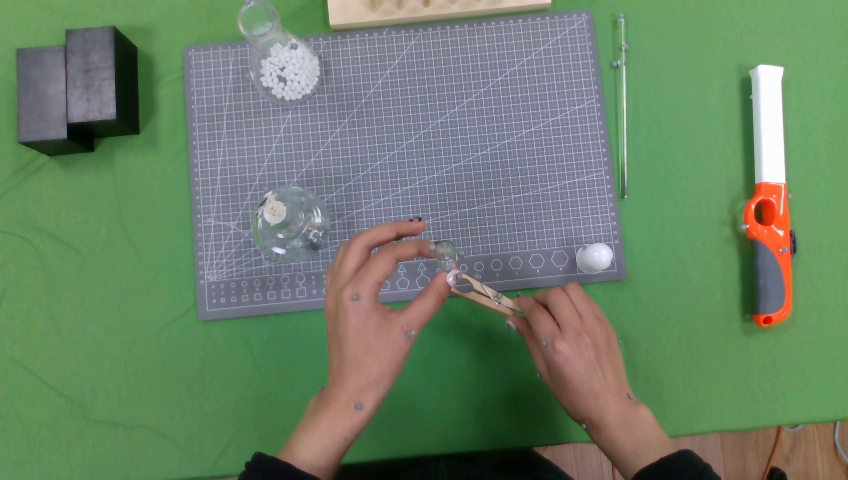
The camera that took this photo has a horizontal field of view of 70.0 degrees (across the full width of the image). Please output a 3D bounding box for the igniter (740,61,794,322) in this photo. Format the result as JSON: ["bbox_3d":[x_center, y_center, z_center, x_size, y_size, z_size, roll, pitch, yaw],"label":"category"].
[{"bbox_3d":[0.360,-0.052,0.638,0.057,0.025,0.275,3,84,-10],"label":"igniter"}]

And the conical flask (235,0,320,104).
[{"bbox_3d":[-0.150,-0.190,0.602,0.075,0.122,0.075,0,83,0],"label":"conical flask"}]

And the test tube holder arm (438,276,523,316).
[{"bbox_3d":[0.055,0.055,0.588,0.087,0.015,0.010,20,86,6],"label":"test tube holder arm"}]

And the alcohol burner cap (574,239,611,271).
[{"bbox_3d":[0.175,0.014,0.620,0.034,0.048,0.034,0,82,0],"label":"alcohol burner cap"}]

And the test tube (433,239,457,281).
[{"bbox_3d":[0.019,0.019,0.499,0.017,0.151,0.017,-1,80,4],"label":"test tube"}]

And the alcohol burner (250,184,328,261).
[{"bbox_3d":[-0.135,-0.020,0.588,0.078,0.119,0.077,0,82,2],"label":"alcohol burner"}]

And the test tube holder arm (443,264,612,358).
[{"bbox_3d":[0.098,0.068,0.584,0.178,0.015,0.013,26,87,6],"label":"test tube holder arm"}]

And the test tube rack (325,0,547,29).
[{"bbox_3d":[0.011,-0.284,0.634,0.242,0.085,0.066,-6,83,-1],"label":"test tube rack"}]

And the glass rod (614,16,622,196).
[{"bbox_3d":[0.211,-0.146,0.658,0.008,0.008,0.199,1,86,0],"label":"glass rod"}]
